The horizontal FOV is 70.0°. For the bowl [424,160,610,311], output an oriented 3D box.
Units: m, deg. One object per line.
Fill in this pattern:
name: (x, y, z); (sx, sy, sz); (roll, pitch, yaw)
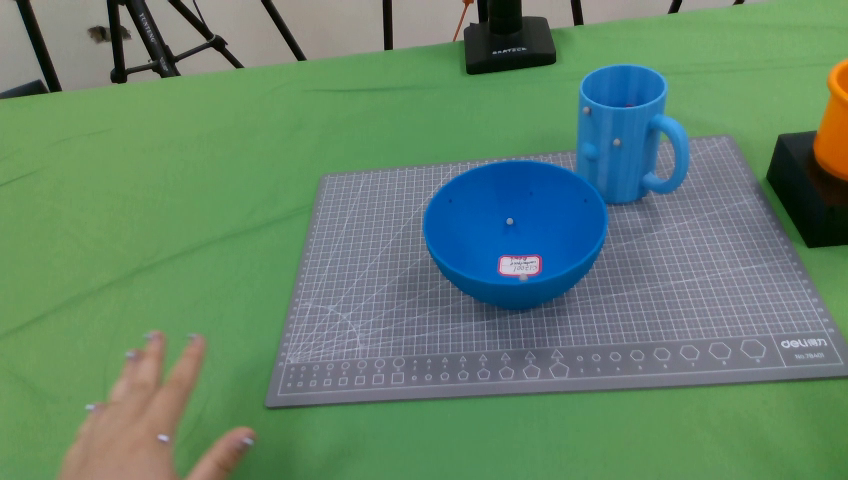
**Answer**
bowl: (0.079, 0.008, 0.518); (0.151, 0.077, 0.150); (-5, 44, 6)

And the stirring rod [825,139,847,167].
stirring rod: (0.398, -0.122, 0.476); (0.176, 0.006, 0.014); (-46, 39, 25)

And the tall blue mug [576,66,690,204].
tall blue mug: (0.201, -0.096, 0.576); (0.106, 0.109, 0.077); (14, 49, 24)
